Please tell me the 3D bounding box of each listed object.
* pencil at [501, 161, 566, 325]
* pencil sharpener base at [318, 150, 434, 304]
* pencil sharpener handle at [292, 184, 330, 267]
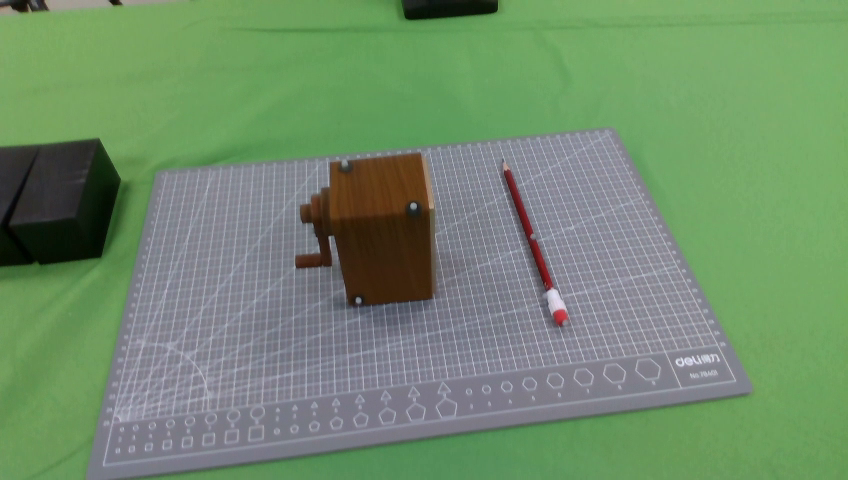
[{"bbox_3d":[0.088,-0.007,0.517,0.012,0.012,0.192,-7,47,-5],"label":"pencil"},{"bbox_3d":[-0.034,-0.006,0.452,0.077,0.108,0.060,-6,50,-3],"label":"pencil sharpener base"},{"bbox_3d":[-0.085,-0.007,0.437,0.031,0.068,0.035,-6,39,-3],"label":"pencil sharpener handle"}]
